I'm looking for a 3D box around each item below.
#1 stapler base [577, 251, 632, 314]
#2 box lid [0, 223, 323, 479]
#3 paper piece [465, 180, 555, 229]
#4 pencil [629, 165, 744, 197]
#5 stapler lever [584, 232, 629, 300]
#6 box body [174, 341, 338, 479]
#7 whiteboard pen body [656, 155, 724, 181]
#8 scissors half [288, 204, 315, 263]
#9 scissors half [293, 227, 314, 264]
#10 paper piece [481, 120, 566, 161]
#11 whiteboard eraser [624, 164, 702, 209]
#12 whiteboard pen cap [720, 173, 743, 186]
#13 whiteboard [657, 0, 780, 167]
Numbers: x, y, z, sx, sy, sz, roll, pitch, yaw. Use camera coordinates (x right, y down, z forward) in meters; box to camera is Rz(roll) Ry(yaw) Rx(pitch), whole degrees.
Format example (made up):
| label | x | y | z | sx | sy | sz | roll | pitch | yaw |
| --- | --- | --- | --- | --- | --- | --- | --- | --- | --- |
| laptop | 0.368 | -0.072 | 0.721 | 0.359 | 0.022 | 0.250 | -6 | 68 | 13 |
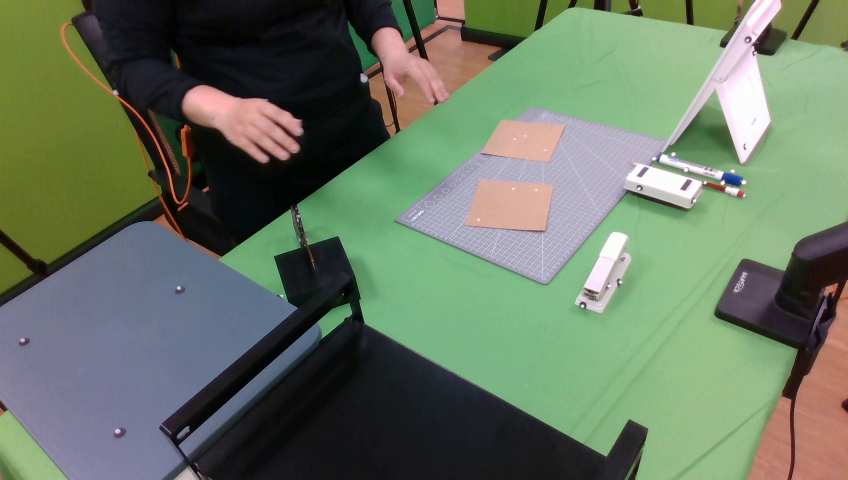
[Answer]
| label | x | y | z | sx | sy | sz | roll | pitch | yaw |
| --- | --- | --- | --- | --- | --- | --- | --- | --- | --- |
| stapler base | 0.264 | 0.051 | 0.875 | 0.041 | 0.024 | 0.131 | 16 | 47 | 30 |
| box lid | -0.318 | 0.109 | 0.671 | 0.368 | 0.015 | 0.264 | 24 | 49 | 31 |
| paper piece | 0.149 | -0.062 | 1.035 | 0.137 | 0.009 | 0.136 | 5 | 37 | 17 |
| pencil | 0.447 | -0.104 | 1.038 | 0.192 | 0.012 | 0.012 | 21 | 48 | 30 |
| stapler lever | 0.260 | 0.034 | 0.858 | 0.026 | 0.040 | 0.118 | 16 | 46 | 30 |
| box body | -0.311 | 0.165 | 0.720 | 0.361 | 0.161 | 0.255 | 23 | 49 | 32 |
| whiteboard pen body | 0.475 | -0.123 | 1.052 | 0.139 | 0.017 | 0.017 | 24 | 49 | 32 |
| scissors half | -0.191 | -0.010 | 0.944 | 0.013 | 0.040 | 0.173 | -16 | 38 | -16 |
| scissors half | -0.188 | 0.007 | 0.954 | 0.013 | 0.040 | 0.174 | -21 | 22 | -13 |
| paper piece | 0.197 | -0.199 | 1.188 | 0.135 | 0.004 | 0.135 | 10 | 44 | 21 |
| whiteboard eraser | 0.396 | -0.087 | 1.003 | 0.112 | 0.042 | 0.056 | 22 | 47 | 31 |
| whiteboard pen cap | 0.519 | -0.103 | 1.020 | 0.033 | 0.018 | 0.018 | 23 | 49 | 30 |
| whiteboard | 0.571 | -0.272 | 1.038 | 0.143 | 0.306 | 0.218 | 36 | 54 | 17 |
